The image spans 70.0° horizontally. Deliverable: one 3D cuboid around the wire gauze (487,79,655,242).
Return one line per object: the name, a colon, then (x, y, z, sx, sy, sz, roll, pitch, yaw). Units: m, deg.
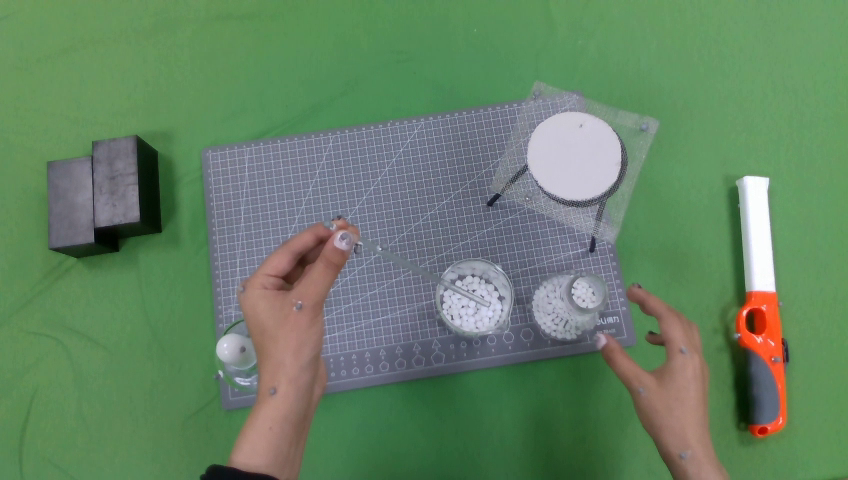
wire gauze: (0.135, -0.077, 0.557, 0.125, 0.011, 0.121, 23, 82, 7)

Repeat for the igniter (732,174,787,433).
igniter: (0.356, 0.063, 0.649, 0.057, 0.025, 0.275, 4, 78, -8)

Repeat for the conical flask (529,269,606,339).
conical flask: (0.148, 0.058, 0.603, 0.075, 0.122, 0.075, 0, 78, 2)

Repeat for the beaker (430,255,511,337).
beaker: (0.049, 0.063, 0.617, 0.074, 0.100, 0.083, -44, 81, -7)

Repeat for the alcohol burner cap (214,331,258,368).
alcohol burner cap: (-0.179, 0.101, 0.571, 0.034, 0.048, 0.033, 0, 71, 1)

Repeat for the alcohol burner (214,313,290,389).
alcohol burner: (-0.177, 0.110, 0.606, 0.078, 0.119, 0.077, 0, 79, 3)

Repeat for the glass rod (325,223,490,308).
glass rod: (-0.005, 0.026, 0.509, 0.008, 0.202, 0.008, -23, 53, 35)

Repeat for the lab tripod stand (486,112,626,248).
lab tripod stand: (0.140, -0.062, 0.622, 0.148, 0.132, 0.148, 0, 80, 3)
